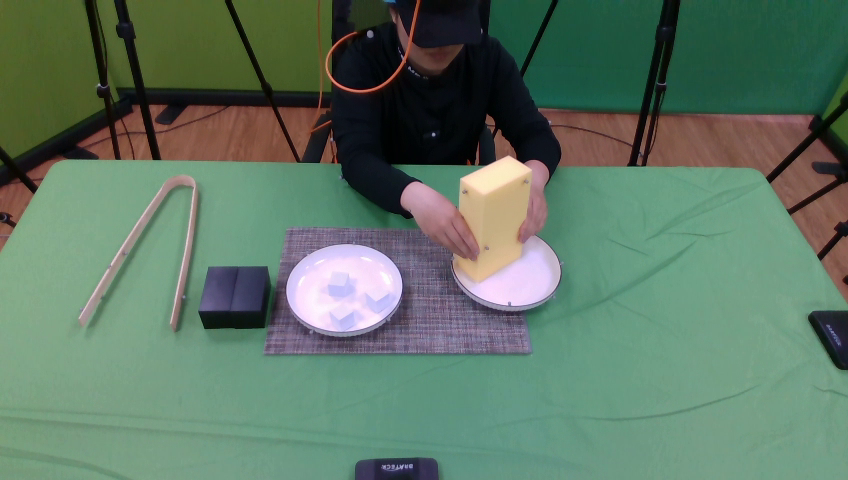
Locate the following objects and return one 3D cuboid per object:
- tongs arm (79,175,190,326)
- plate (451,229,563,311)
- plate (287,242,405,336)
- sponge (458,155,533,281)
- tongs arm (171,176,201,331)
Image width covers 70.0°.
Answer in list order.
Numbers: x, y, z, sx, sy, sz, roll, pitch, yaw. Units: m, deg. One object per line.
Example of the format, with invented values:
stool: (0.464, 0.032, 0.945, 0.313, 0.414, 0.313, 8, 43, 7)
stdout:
tongs arm: (-0.534, 0.005, 1.145, 0.051, 0.026, 0.382, 6, 45, 1)
plate: (0.153, 0.054, 1.140, 0.209, 0.038, 0.208, 2, 47, -2)
plate: (-0.138, 0.090, 1.085, 0.208, 0.039, 0.206, 2, 46, -2)
sponge: (0.126, -0.038, 1.095, 0.118, 0.208, 0.060, -29, 49, -27)
tongs arm: (-0.453, 0.010, 1.151, 0.028, 0.028, 0.385, -6, 47, -6)
